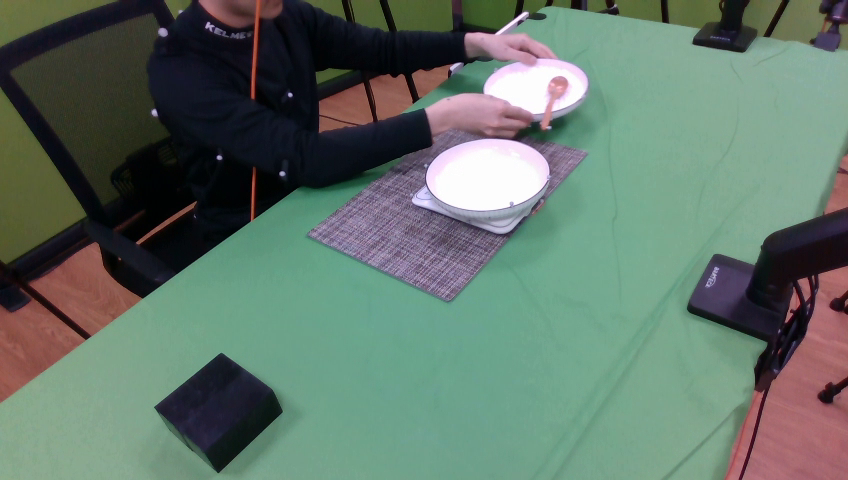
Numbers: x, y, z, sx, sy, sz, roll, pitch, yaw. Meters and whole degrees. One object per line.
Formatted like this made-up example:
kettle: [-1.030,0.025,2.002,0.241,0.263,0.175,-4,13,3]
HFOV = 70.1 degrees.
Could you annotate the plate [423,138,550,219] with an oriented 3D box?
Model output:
plate: [0.104,-0.099,1.005,0.207,0.039,0.206,-4,41,4]

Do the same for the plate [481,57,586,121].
plate: [0.218,-0.298,1.213,0.209,0.038,0.208,-6,45,6]

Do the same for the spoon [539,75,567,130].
spoon: [0.239,-0.264,1.152,0.041,0.022,0.193,6,40,19]

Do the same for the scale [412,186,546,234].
scale: [0.093,-0.083,1.038,0.199,0.032,0.149,22,48,30]
